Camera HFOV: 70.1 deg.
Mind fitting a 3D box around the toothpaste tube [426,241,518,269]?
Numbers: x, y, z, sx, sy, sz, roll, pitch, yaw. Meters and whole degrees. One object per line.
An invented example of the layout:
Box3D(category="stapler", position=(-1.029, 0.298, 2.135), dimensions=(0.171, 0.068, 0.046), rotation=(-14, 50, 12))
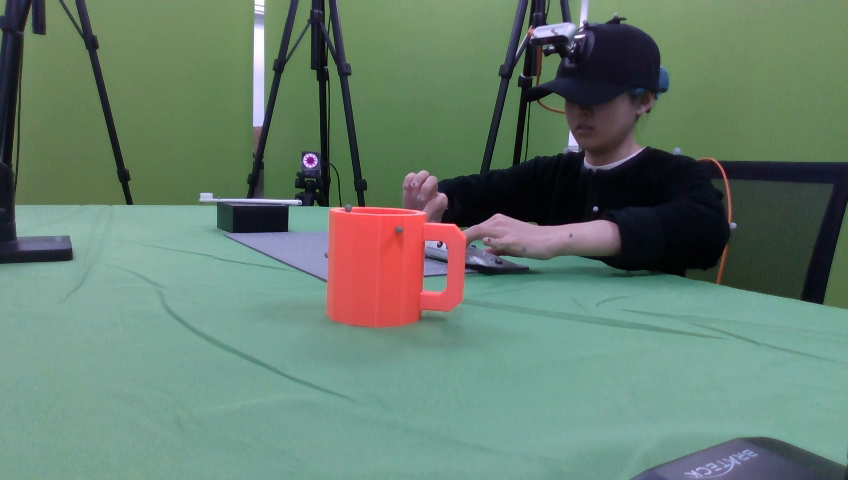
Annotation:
Box3D(category="toothpaste tube", position=(0.049, 0.020, 0.832), dimensions=(0.055, 0.034, 0.164), rotation=(-8, 15, -42))

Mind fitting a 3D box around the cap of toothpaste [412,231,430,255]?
Box3D(category="cap of toothpaste", position=(-0.002, 0.005, 0.891), dimensions=(0.011, 0.037, 0.037), rotation=(10, 11, 42))

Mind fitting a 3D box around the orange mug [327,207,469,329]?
Box3D(category="orange mug", position=(-0.024, 0.021, 0.535), dimensions=(0.126, 0.100, 0.083), rotation=(-1, 6, 8))

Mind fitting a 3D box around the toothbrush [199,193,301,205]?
Box3D(category="toothbrush", position=(-0.323, -0.076, 1.129), dimensions=(0.182, 0.016, 0.014), rotation=(2, 4, -15))
